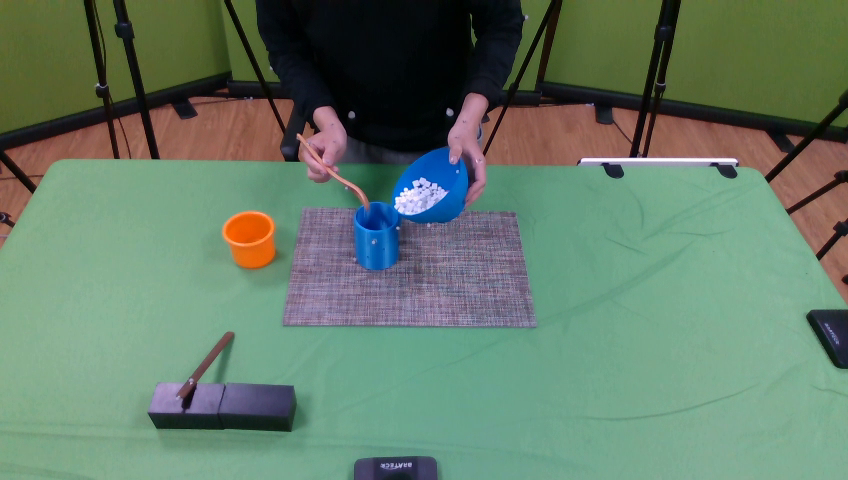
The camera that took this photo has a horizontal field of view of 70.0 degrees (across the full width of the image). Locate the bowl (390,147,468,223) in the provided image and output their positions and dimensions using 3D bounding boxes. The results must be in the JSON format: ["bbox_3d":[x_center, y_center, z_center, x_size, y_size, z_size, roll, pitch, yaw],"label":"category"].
[{"bbox_3d":[0.022,-0.083,1.077,0.151,0.077,0.150,-24,43,25],"label":"bowl"}]

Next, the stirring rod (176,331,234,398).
[{"bbox_3d":[-0.342,0.192,0.955,0.014,0.006,0.175,3,24,7],"label":"stirring rod"}]

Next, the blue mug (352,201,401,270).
[{"bbox_3d":[-0.082,-0.017,1.144,0.082,0.106,0.116,30,51,22],"label":"blue mug"}]

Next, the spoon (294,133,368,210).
[{"bbox_3d":[-0.167,-0.124,1.088,0.193,0.041,0.021,42,81,5],"label":"spoon"}]
